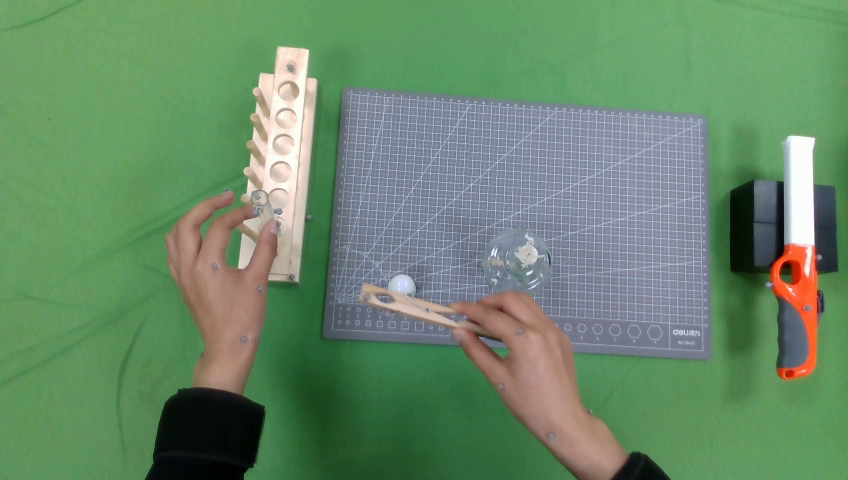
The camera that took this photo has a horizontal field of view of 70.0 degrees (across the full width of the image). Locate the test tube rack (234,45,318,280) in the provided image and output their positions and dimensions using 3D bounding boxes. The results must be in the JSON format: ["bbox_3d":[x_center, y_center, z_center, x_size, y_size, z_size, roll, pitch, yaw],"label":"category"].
[{"bbox_3d":[-0.166,-0.082,0.665,0.067,0.085,0.241,5,81,-3],"label":"test tube rack"}]

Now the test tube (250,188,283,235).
[{"bbox_3d":[-0.151,-0.021,0.594,0.017,0.150,0.017,2,77,-7],"label":"test tube"}]

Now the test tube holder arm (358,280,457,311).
[{"bbox_3d":[-0.014,0.053,0.535,0.088,0.015,0.010,16,65,-6],"label":"test tube holder arm"}]

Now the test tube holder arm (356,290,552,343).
[{"bbox_3d":[0.028,0.069,0.538,0.179,0.015,0.013,15,65,-7],"label":"test tube holder arm"}]

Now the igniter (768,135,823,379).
[{"bbox_3d":[0.414,0.017,0.676,0.057,0.025,0.275,6,80,3],"label":"igniter"}]

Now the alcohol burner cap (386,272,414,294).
[{"bbox_3d":[-0.026,0.051,0.673,0.034,0.048,0.033,1,80,-4],"label":"alcohol burner cap"}]

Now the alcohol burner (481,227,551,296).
[{"bbox_3d":[0.103,0.021,0.652,0.078,0.119,0.077,0,82,-3],"label":"alcohol burner"}]
